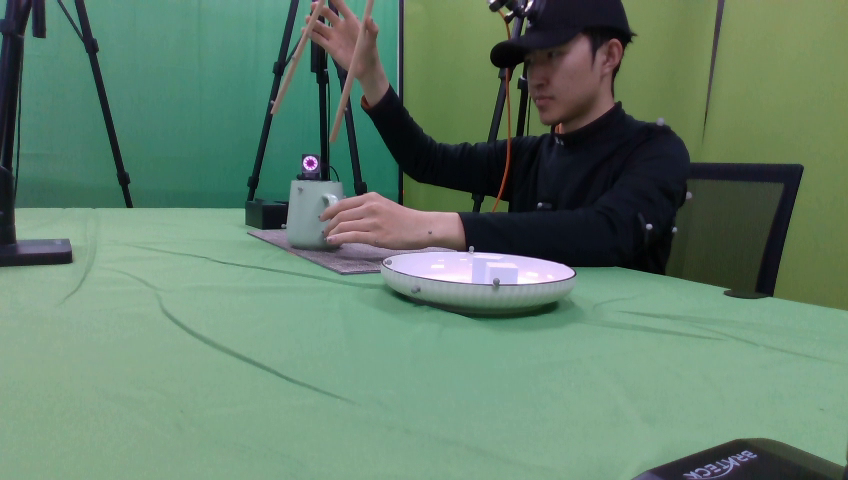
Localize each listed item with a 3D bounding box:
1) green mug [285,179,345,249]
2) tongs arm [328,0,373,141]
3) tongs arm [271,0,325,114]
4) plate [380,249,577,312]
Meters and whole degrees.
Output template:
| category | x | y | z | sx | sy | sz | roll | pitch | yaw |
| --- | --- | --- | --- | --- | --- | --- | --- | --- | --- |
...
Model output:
| category | x | y | z | sx | sy | sz | roll | pitch | yaw |
| --- | --- | --- | --- | --- | --- | --- | --- | --- | --- |
| green mug | -0.161 | -0.040 | 0.937 | 0.093 | 0.105 | 0.124 | -2 | 8 | -32 |
| tongs arm | -0.131 | -0.373 | 1.130 | 0.028 | 0.387 | 0.028 | 20 | 16 | 14 |
| tongs arm | -0.195 | -0.404 | 1.139 | 0.050 | 0.384 | 0.026 | 29 | 17 | 8 |
| plate | 0.056 | 0.042 | 0.646 | 0.209 | 0.038 | 0.209 | 2 | 7 | 0 |
